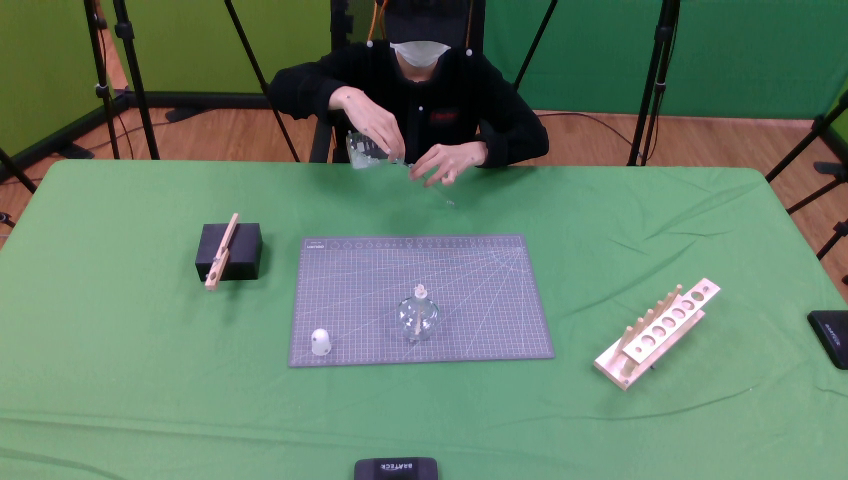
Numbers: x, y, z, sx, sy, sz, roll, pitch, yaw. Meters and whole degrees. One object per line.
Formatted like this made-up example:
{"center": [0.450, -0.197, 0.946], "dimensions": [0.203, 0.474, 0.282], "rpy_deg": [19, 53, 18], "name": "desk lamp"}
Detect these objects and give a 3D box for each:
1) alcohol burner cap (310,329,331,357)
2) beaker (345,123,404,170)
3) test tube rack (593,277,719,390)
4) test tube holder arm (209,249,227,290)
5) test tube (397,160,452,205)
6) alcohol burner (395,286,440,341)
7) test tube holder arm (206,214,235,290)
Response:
{"center": [-0.173, 0.168, 1.005], "dimensions": [0.034, 0.048, 0.033], "rpy_deg": [2, 46, -2], "name": "alcohol burner cap"}
{"center": [-0.096, -0.173, 1.152], "dimensions": [0.100, 0.084, 0.073], "rpy_deg": [-12, 34, -10], "name": "beaker"}
{"center": [0.401, 0.148, 1.043], "dimensions": [0.242, 0.085, 0.066], "rpy_deg": [-30, 55, -29], "name": "test tube rack"}
{"center": [-0.359, 0.050, 1.059], "dimensions": [0.010, 0.015, 0.087], "rpy_deg": [8, 45, -7], "name": "test tube holder arm"}
{"center": [0.003, -0.114, 1.219], "dimensions": [0.151, 0.017, 0.017], "rpy_deg": [36, 36, -31], "name": "test tube"}
{"center": [-0.010, 0.116, 1.018], "dimensions": [0.078, 0.119, 0.077], "rpy_deg": [3, 47, -3], "name": "alcohol burner"}
{"center": [-0.364, 0.017, 1.090], "dimensions": [0.013, 0.015, 0.177], "rpy_deg": [7, 45, -8], "name": "test tube holder arm"}
